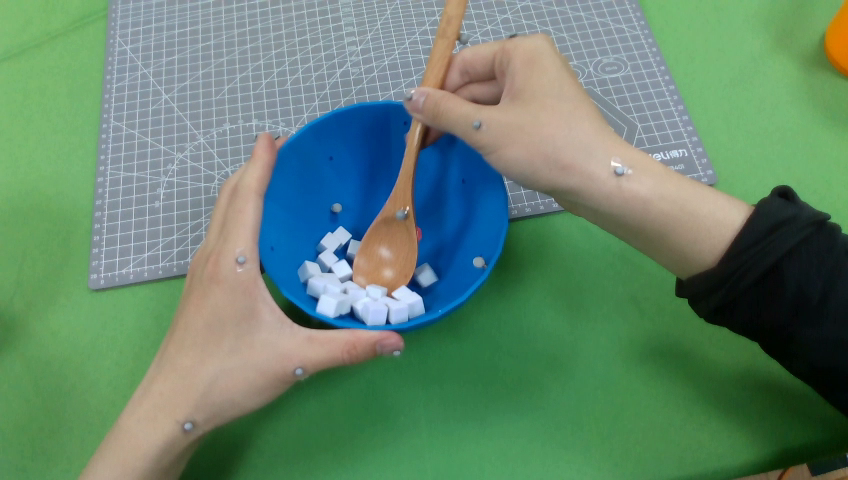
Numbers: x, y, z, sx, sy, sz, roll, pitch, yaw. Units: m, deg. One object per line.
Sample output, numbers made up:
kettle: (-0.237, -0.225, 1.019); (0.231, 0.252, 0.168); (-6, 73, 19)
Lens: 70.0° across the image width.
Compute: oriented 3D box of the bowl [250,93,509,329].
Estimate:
bowl: (-0.025, -0.008, 0.386); (0.151, 0.077, 0.150); (0, 68, 1)

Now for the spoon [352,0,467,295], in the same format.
spoon: (-0.004, -0.059, 0.359); (0.041, 0.022, 0.194); (21, 103, 22)
